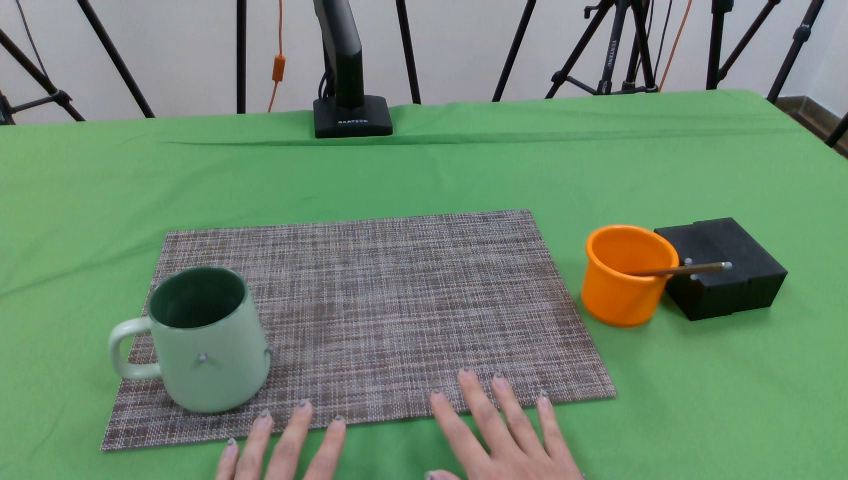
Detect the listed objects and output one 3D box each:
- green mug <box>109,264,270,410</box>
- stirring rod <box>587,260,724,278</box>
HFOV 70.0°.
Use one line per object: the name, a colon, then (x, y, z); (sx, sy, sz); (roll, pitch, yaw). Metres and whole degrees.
green mug: (-0.202, 0.088, 0.523); (0.125, 0.106, 0.091); (-11, 40, -16)
stirring rod: (0.220, 0.030, 0.597); (0.014, 0.006, 0.175); (-14, -1, -23)
